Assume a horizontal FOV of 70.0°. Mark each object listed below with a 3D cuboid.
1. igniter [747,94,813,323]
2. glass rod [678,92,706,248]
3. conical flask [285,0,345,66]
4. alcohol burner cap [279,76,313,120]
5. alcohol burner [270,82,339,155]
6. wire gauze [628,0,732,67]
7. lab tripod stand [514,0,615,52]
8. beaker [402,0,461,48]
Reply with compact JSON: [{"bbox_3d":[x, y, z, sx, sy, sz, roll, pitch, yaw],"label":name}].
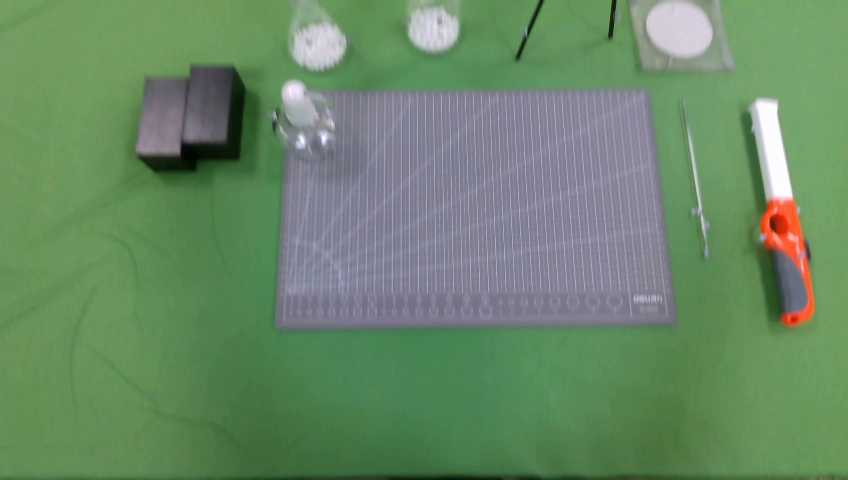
[{"bbox_3d":[0.414,-0.041,0.707,0.057,0.025,0.275,2,75,-11],"label":"igniter"},{"bbox_3d":[0.321,-0.087,0.727,0.008,0.008,0.198,-2,76,-1],"label":"glass rod"},{"bbox_3d":[-0.136,-0.266,0.709,0.075,0.122,0.075,0,75,0],"label":"conical flask"},{"bbox_3d":[-0.138,-0.154,0.644,0.034,0.048,0.033,1,68,-2],"label":"alcohol burner cap"},{"bbox_3d":[-0.137,-0.143,0.678,0.078,0.119,0.077,0,75,2],"label":"alcohol burner"},{"bbox_3d":[0.327,-0.278,0.778,0.125,0.011,0.121,-2,76,-3],"label":"wire gauze"},{"bbox_3d":[0.168,-0.302,0.717,0.148,0.132,0.147,0,77,-1],"label":"lab tripod stand"},{"bbox_3d":[0.011,-0.288,0.729,0.084,0.101,0.073,-25,77,-8],"label":"beaker"}]
